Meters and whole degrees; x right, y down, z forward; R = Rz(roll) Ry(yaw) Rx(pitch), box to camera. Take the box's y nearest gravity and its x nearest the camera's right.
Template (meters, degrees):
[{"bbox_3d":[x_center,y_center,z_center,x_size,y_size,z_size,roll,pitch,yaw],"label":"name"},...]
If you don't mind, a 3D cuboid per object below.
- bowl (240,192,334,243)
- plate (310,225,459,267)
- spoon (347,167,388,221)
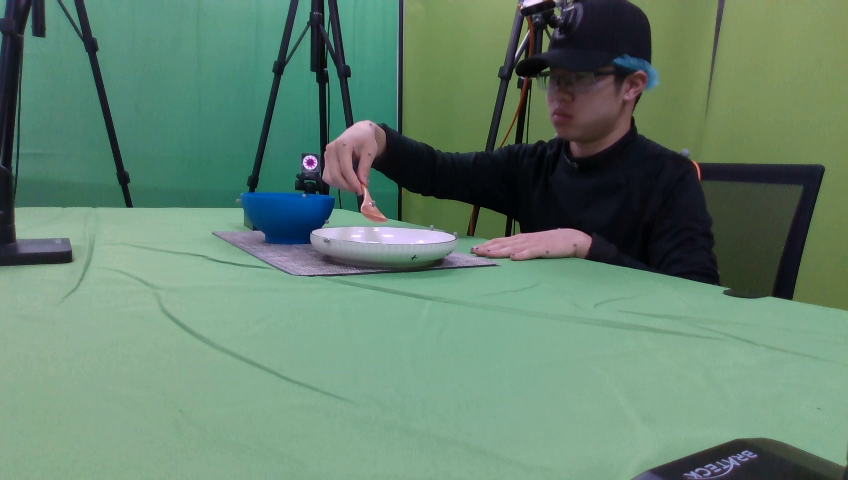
[{"bbox_3d":[-0.223,-0.037,0.992,0.151,0.077,0.151,2,7,0],"label":"bowl"},{"bbox_3d":[-0.055,0.008,0.851,0.208,0.039,0.207,2,7,0],"label":"plate"},{"bbox_3d":[-0.093,-0.075,0.938,0.042,0.021,0.193,14,26,-26],"label":"spoon"}]
